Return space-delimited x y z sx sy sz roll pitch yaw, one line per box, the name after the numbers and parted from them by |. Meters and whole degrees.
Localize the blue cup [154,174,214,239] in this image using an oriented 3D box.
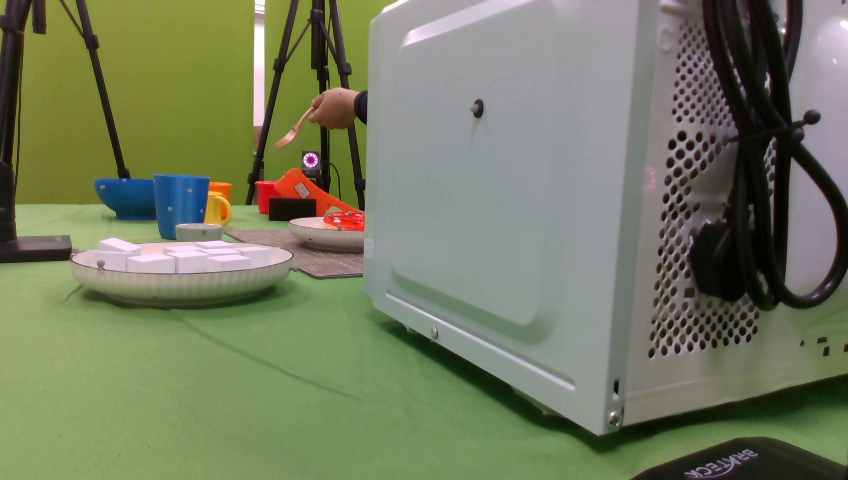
-0.390 -0.053 0.978 0.093 0.100 0.092 3 6 0 | blue cup

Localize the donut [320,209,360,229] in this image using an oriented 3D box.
-0.115 -0.023 0.962 0.099 0.048 0.099 5 9 0 | donut

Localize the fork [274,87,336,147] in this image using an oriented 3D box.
-0.272 -0.284 1.396 0.028 0.207 0.019 22 -23 38 | fork

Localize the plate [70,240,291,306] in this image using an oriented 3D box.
-0.242 0.032 0.618 0.208 0.039 0.207 2 8 0 | plate

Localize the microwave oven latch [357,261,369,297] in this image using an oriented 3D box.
-0.019 0.033 0.530 0.079 0.029 0.030 -1 7 -26 | microwave oven latch

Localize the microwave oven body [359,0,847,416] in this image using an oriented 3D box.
0.211 -0.047 0.474 0.444 0.260 0.324 -1 7 -28 | microwave oven body

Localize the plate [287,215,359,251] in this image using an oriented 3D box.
-0.111 -0.012 0.960 0.209 0.038 0.209 3 8 0 | plate

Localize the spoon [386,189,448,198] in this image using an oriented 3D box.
-0.009 -0.108 1.366 0.041 0.021 0.195 -17 -6 43 | spoon

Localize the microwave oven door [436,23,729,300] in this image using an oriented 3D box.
0.180 -0.073 0.621 0.358 0.243 0.039 -2 9 -29 | microwave oven door

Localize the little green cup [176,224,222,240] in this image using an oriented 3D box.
-0.312 -0.001 0.842 0.061 0.038 0.061 2 8 0 | little green cup

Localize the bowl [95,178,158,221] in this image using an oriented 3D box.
-0.576 -0.081 1.217 0.151 0.077 0.151 3 8 0 | bowl

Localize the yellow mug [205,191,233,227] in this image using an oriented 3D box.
-0.415 -0.057 1.132 0.130 0.064 0.100 6 8 16 | yellow mug

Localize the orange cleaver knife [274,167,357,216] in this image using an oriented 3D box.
-0.238 -0.090 1.381 0.212 0.077 0.012 31 0 -19 | orange cleaver knife
